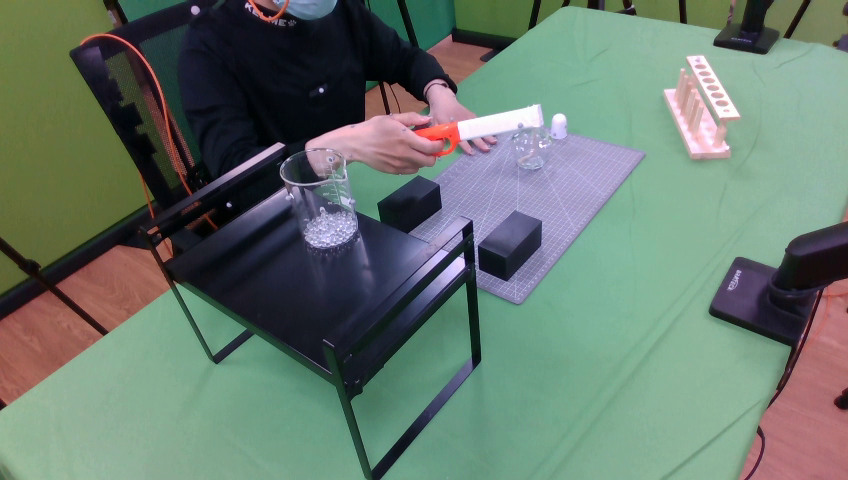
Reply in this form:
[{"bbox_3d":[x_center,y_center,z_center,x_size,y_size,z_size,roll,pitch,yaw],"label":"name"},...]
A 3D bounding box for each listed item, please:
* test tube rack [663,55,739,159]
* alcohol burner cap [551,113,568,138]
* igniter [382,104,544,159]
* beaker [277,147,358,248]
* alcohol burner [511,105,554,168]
[{"bbox_3d":[0.518,-0.256,1.144,0.066,0.085,0.241,-1,41,8],"label":"test tube rack"},{"bbox_3d":[0.263,-0.223,1.172,0.034,0.048,0.033,-5,40,4],"label":"alcohol burner cap"},{"bbox_3d":[0.048,-0.163,0.919,0.275,0.057,0.025,-6,15,31],"label":"igniter"},{"bbox_3d":[-0.117,-0.046,0.705,0.083,0.101,0.074,17,47,25],"label":"beaker"},{"bbox_3d":[0.196,-0.190,1.088,0.078,0.119,0.077,-3,42,3],"label":"alcohol burner"}]
